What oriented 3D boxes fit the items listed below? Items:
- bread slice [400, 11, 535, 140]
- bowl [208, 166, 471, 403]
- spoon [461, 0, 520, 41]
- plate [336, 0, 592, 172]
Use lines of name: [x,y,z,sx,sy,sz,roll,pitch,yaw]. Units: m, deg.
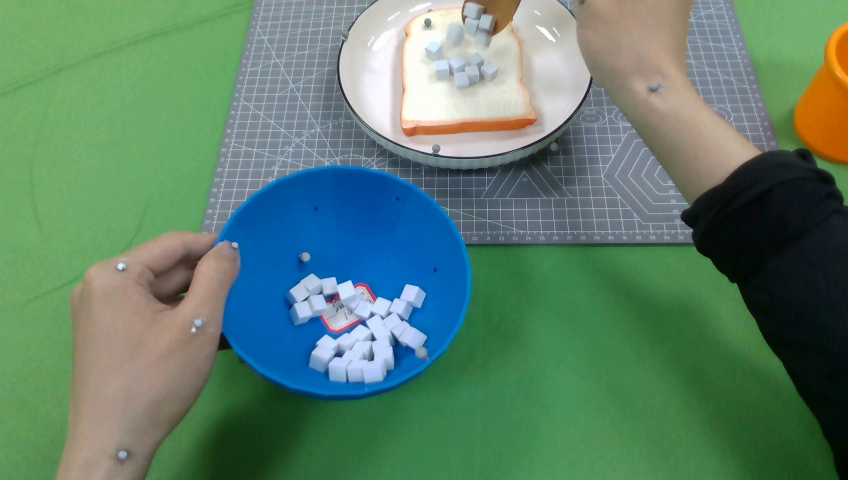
bread slice: [0.029,-0.141,0.514,0.107,0.018,0.133,-7,62,0]
bowl: [-0.051,0.036,0.381,0.152,0.077,0.150,4,59,-7]
spoon: [0.081,-0.188,0.413,0.021,0.193,0.041,-26,95,-26]
plate: [0.032,-0.138,0.509,0.209,0.038,0.207,-1,61,3]
